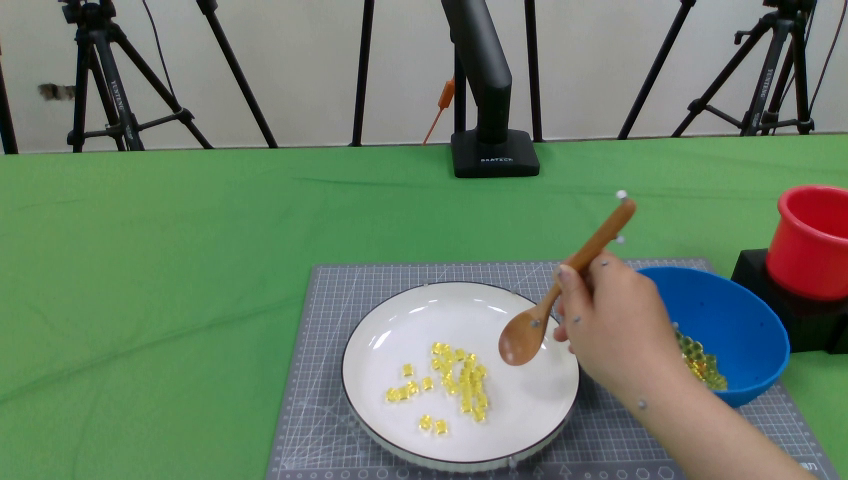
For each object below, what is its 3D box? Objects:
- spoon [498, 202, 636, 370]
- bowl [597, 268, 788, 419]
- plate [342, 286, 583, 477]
[{"bbox_3d":[0.105,0.042,0.468,0.022,0.195,0.041,0,50,-24],"label":"spoon"},{"bbox_3d":[0.221,0.101,0.527,0.151,0.077,0.150,0,37,1],"label":"bowl"},{"bbox_3d":[0.033,0.121,0.538,0.208,0.039,0.205,0,36,1],"label":"plate"}]
